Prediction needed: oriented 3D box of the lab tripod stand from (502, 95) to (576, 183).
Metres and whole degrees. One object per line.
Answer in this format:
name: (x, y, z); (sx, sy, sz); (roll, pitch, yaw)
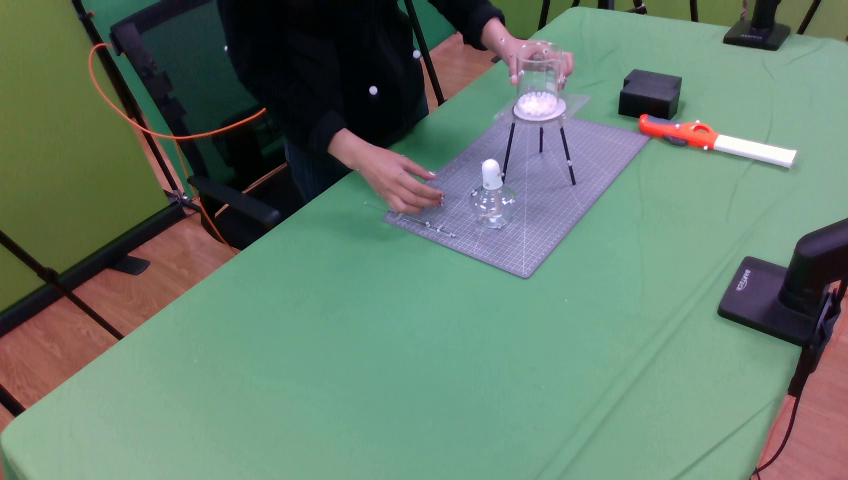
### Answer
lab tripod stand: (0.204, -0.174, 1.057); (0.148, 0.132, 0.147); (-4, 40, 4)

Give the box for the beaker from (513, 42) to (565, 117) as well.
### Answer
beaker: (0.187, -0.258, 0.981); (0.083, 0.101, 0.074); (21, 48, 30)

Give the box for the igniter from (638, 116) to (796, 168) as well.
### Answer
igniter: (0.517, -0.181, 1.093); (0.274, 0.025, 0.057); (23, 65, 32)

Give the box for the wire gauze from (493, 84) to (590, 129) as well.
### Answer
wire gauze: (0.197, -0.223, 1.013); (0.120, 0.011, 0.125); (21, 46, 28)

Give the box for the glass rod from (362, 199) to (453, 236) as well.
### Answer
glass rod: (-0.032, -0.041, 1.041); (0.198, 0.008, 0.008); (22, 50, 31)

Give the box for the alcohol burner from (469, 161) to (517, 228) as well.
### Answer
alcohol burner: (0.112, -0.079, 0.978); (0.078, 0.119, 0.077); (-4, 41, 4)

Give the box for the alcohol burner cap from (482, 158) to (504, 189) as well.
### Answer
alcohol burner cap: (0.107, -0.106, 0.954); (0.034, 0.048, 0.033); (-9, 38, 8)
